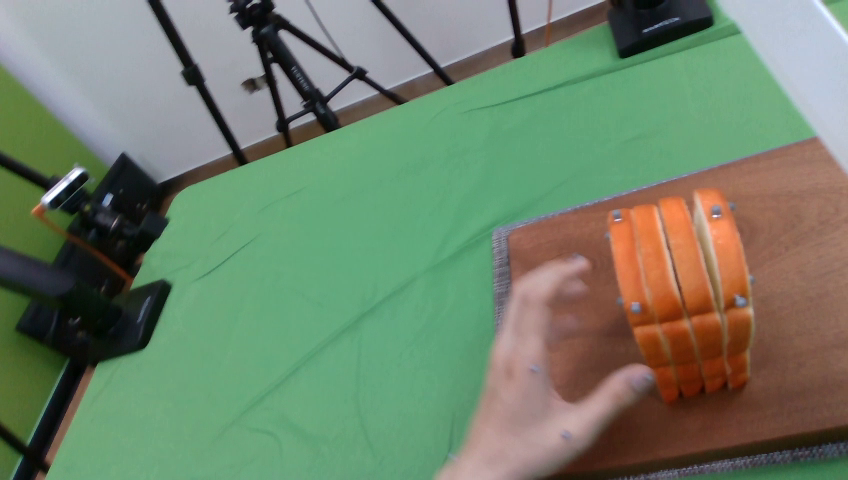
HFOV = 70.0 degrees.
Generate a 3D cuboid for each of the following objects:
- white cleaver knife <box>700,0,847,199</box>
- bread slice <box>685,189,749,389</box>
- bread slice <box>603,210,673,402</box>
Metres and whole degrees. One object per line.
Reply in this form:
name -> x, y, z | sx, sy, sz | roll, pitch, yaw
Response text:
white cleaver knife -> 0.217, -0.038, 0.284 | 0.021, 0.066, 0.284 | -25, 70, 0
bread slice -> 0.207, 0.030, 0.432 | 0.019, 0.133, 0.104 | -11, 47, 16
bread slice -> 0.159, 0.041, 0.452 | 0.018, 0.136, 0.106 | -15, 43, 21
